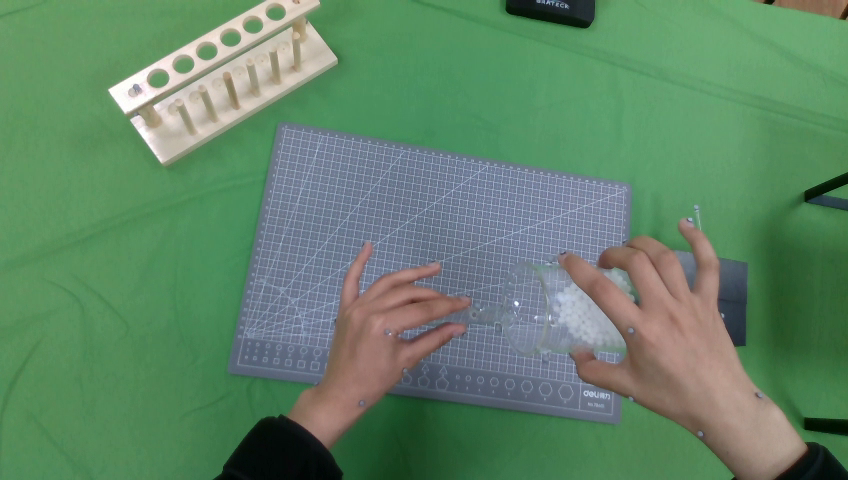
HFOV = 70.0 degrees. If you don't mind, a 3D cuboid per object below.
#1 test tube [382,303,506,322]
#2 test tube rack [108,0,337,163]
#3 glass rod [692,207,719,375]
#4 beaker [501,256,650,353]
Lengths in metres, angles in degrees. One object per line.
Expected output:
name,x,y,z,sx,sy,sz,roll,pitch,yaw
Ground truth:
test tube,0.014,0.068,0.561,0.017,0.149,0.017,8,78,-45
test tube rack,-0.217,-0.192,0.690,0.242,0.085,0.066,-36,84,-14
glass rod,0.329,0.057,0.710,0.008,0.008,0.198,0,78,-8
beaker,0.121,0.054,0.491,0.101,0.084,0.073,3,75,-19
